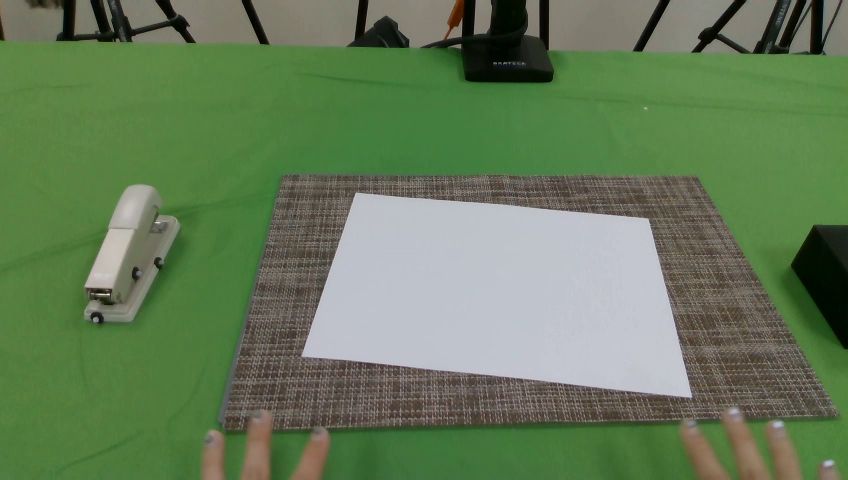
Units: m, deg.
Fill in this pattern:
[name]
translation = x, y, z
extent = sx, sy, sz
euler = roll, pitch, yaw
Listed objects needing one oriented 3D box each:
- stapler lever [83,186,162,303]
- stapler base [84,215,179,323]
[stapler lever]
translation = -0.255, 0.000, 0.516
extent = 0.027, 0.040, 0.117
euler = 1, 43, 1
[stapler base]
translation = -0.257, 0.017, 0.534
extent = 0.041, 0.024, 0.129
euler = 1, 44, 1
